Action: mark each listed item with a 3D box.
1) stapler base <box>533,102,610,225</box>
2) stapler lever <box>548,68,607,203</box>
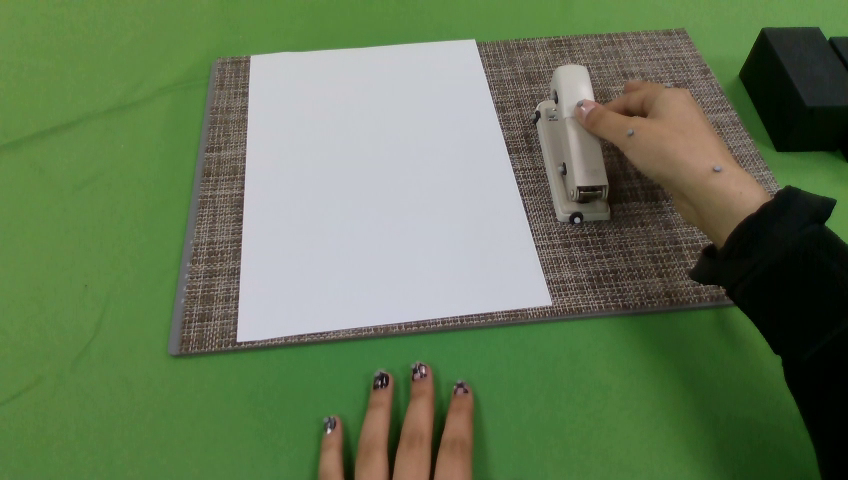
[{"bbox_3d":[0.117,-0.070,0.484,0.041,0.024,0.129,-4,56,1],"label":"stapler base"},{"bbox_3d":[0.117,-0.083,0.463,0.027,0.040,0.117,-4,55,1],"label":"stapler lever"}]
